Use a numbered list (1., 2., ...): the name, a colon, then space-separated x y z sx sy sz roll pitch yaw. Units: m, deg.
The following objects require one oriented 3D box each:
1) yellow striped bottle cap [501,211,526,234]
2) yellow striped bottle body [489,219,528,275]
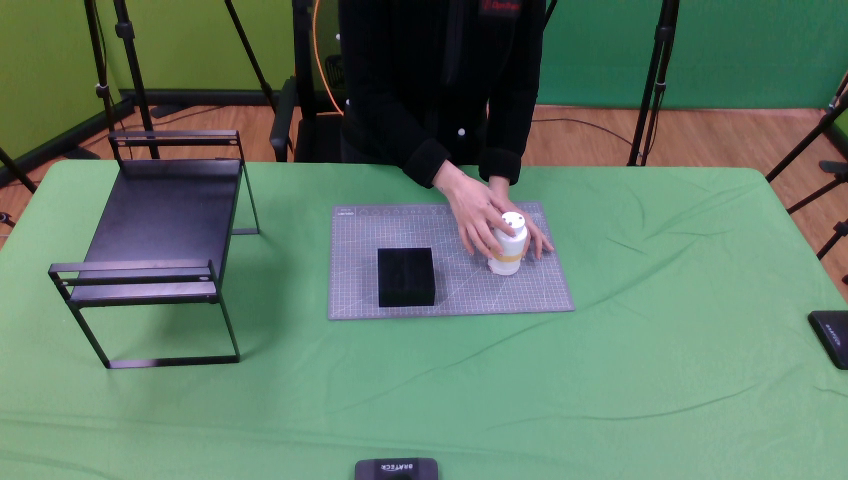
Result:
1. yellow striped bottle cap: 0.161 -0.032 1.092 0.044 0.019 0.044 3 45 -2
2. yellow striped bottle body: 0.158 0.004 1.131 0.063 0.121 0.062 2 46 -2
